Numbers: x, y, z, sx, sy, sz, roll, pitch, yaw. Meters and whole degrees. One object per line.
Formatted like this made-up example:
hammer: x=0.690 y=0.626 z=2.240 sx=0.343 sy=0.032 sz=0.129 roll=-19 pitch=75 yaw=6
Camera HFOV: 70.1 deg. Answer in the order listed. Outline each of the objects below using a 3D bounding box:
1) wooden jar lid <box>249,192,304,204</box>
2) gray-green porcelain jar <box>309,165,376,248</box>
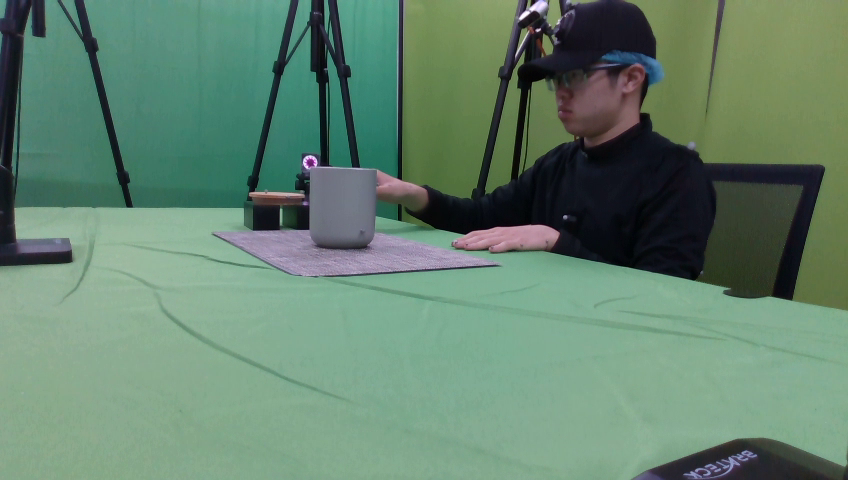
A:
wooden jar lid: x=-0.297 y=-0.086 z=1.220 sx=0.108 sy=0.020 sz=0.108 roll=4 pitch=7 yaw=0
gray-green porcelain jar: x=-0.130 y=-0.054 z=0.966 sx=0.106 sy=0.126 sz=0.106 roll=2 pitch=7 yaw=0
